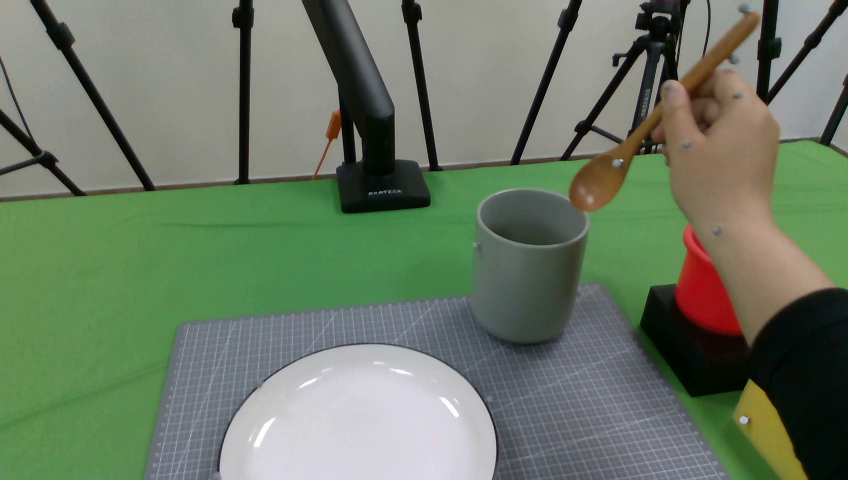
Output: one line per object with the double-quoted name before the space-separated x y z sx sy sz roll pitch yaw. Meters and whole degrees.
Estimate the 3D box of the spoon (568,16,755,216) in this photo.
"spoon" 0.169 -0.084 0.453 0.022 0.194 0.041 -7 59 -30

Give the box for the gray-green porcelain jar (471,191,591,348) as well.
"gray-green porcelain jar" 0.099 0.032 0.589 0.106 0.127 0.105 1 35 0

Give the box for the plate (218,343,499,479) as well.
"plate" -0.047 0.165 0.467 0.208 0.039 0.205 1 34 0

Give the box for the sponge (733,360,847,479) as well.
"sponge" 0.348 0.184 0.440 0.118 0.061 0.204 -7 35 -12
